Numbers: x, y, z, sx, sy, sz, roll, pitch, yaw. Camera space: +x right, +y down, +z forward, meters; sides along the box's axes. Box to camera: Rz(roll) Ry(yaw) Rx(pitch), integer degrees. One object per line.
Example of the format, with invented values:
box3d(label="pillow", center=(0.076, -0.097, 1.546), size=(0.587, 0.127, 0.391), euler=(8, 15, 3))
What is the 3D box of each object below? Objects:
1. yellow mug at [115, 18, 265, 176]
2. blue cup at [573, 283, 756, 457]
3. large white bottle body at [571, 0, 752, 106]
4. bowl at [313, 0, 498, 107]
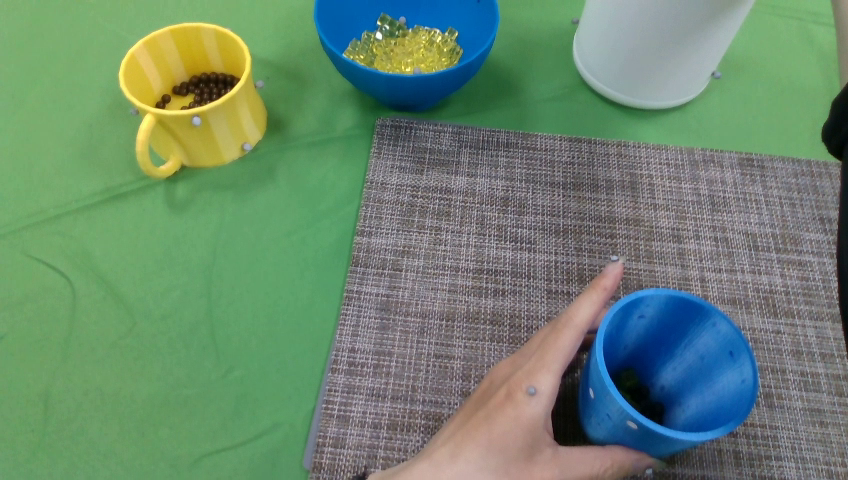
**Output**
box3d(label="yellow mug", center=(-0.191, -0.108, 0.484), size=(0.100, 0.064, 0.130), euler=(17, 62, 7))
box3d(label="blue cup", center=(0.130, 0.087, 0.360), size=(0.093, 0.101, 0.092), euler=(1, 58, -1))
box3d(label="large white bottle body", center=(0.203, -0.217, 0.495), size=(0.131, 0.186, 0.129), euler=(1, 60, -2))
box3d(label="bowl", center=(-0.016, -0.169, 0.520), size=(0.151, 0.077, 0.150), euler=(1, 60, -2))
